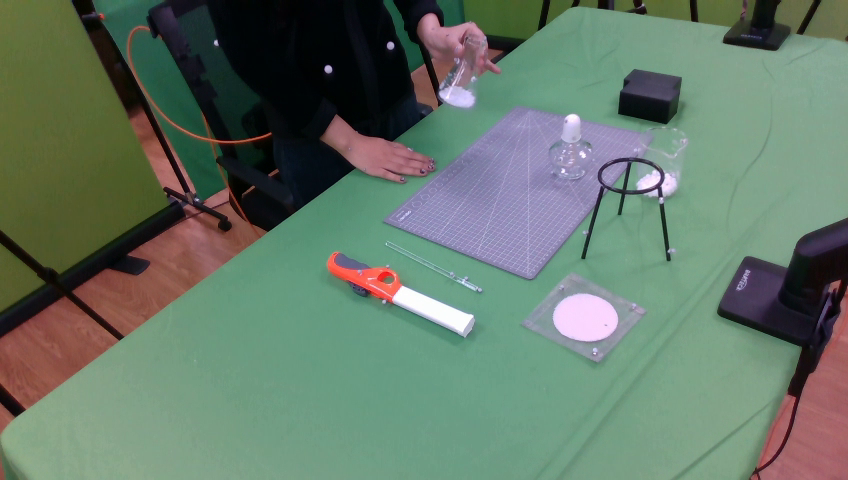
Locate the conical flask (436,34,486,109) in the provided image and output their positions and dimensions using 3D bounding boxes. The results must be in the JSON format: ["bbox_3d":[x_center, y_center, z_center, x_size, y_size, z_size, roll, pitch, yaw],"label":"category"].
[{"bbox_3d":[0.072,-0.301,1.073,0.075,0.122,0.075,15,34,-9],"label":"conical flask"}]

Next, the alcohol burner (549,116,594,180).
[{"bbox_3d":[0.258,-0.166,1.055,0.078,0.120,0.077,-6,42,6],"label":"alcohol burner"}]

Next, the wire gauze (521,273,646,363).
[{"bbox_3d":[0.219,0.105,0.830,0.120,0.011,0.125,28,54,37],"label":"wire gauze"}]

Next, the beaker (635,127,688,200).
[{"bbox_3d":[0.388,-0.122,0.994,0.074,0.101,0.083,-8,40,2],"label":"beaker"}]

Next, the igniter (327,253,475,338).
[{"bbox_3d":[-0.045,0.077,0.898,0.274,0.025,0.057,22,60,32],"label":"igniter"}]

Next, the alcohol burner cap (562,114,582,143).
[{"bbox_3d":[0.254,-0.192,1.030,0.034,0.048,0.033,-4,50,6],"label":"alcohol burner cap"}]

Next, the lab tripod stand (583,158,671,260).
[{"bbox_3d":[0.300,-0.046,0.895,0.148,0.132,0.147,-7,38,6],"label":"lab tripod stand"}]

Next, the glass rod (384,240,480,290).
[{"bbox_3d":[0.009,0.037,0.950,0.198,0.008,0.008,26,52,35],"label":"glass rod"}]
